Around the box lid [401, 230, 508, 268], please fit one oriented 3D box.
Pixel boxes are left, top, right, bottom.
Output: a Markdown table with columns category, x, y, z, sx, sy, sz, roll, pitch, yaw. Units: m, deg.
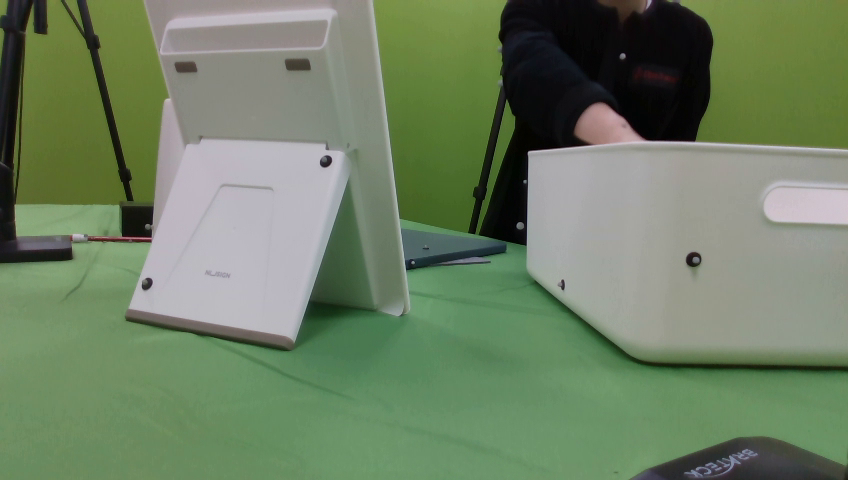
| category | x | y | z | sx | sy | sz | roll | pitch | yaw |
| --- | --- | --- | --- | --- | --- | --- | --- | --- | --- |
| box lid | -0.065 | 0.012 | 0.933 | 0.262 | 0.015 | 0.373 | 7 | 8 | 36 |

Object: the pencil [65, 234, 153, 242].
| category | x | y | z | sx | sy | sz | roll | pitch | yaw |
| --- | --- | --- | --- | --- | --- | --- | --- | --- | --- |
| pencil | -0.429 | -0.001 | 0.911 | 0.195 | 0.012 | 0.012 | 1 | 7 | -19 |

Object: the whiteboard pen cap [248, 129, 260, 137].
| category | x | y | z | sx | sy | sz | roll | pitch | yaw |
| --- | --- | --- | --- | --- | --- | --- | --- | --- | --- |
| whiteboard pen cap | -0.373 | -0.235 | 1.326 | 0.018 | 0.018 | 0.033 | -3 | 12 | -35 |

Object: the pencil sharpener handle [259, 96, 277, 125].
| category | x | y | z | sx | sy | sz | roll | pitch | yaw |
| --- | --- | --- | --- | --- | --- | --- | --- | --- | --- |
| pencil sharpener handle | -0.373 | -0.304 | 1.425 | 0.036 | 0.067 | 0.030 | 13 | -1 | -37 |

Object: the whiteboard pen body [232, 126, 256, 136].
| category | x | y | z | sx | sy | sz | roll | pitch | yaw |
| --- | --- | --- | --- | --- | --- | --- | --- | --- | --- |
| whiteboard pen body | -0.407 | -0.247 | 1.372 | 0.017 | 0.017 | 0.140 | -3 | 13 | -35 |

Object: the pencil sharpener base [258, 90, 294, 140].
| category | x | y | z | sx | sy | sz | roll | pitch | yaw |
| --- | --- | --- | --- | --- | --- | --- | --- | --- | --- |
| pencil sharpener base | -0.341 | -0.285 | 1.388 | 0.062 | 0.107 | 0.076 | -3 | 9 | -36 |

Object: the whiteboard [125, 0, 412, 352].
| category | x | y | z | sx | sy | sz | roll | pitch | yaw |
| --- | --- | --- | --- | --- | --- | --- | --- | --- | --- |
| whiteboard | -0.151 | -0.049 | 0.472 | 0.216 | 0.305 | 0.144 | 6 | 27 | 24 |

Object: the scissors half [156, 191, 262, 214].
| category | x | y | z | sx | sy | sz | roll | pitch | yaw |
| --- | --- | --- | --- | --- | --- | --- | --- | --- | --- |
| scissors half | -0.371 | -0.068 | 1.051 | 0.176 | 0.040 | 0.013 | 2 | 25 | -24 |

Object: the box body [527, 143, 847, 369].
| category | x | y | z | sx | sy | sz | roll | pitch | yaw |
| --- | --- | --- | --- | --- | --- | --- | --- | --- | --- |
| box body | 0.257 | -0.005 | 0.591 | 0.254 | 0.160 | 0.363 | 2 | 7 | -4 |

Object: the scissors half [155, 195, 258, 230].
| category | x | y | z | sx | sy | sz | roll | pitch | yaw |
| --- | --- | --- | --- | --- | --- | --- | --- | --- | --- |
| scissors half | -0.378 | -0.051 | 1.058 | 0.176 | 0.040 | 0.012 | 20 | 21 | -31 |

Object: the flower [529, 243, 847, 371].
| category | x | y | z | sx | sy | sz | roll | pitch | yaw |
| --- | --- | --- | --- | --- | --- | --- | --- | --- | --- |
| flower | 0.254 | 0.065 | 0.605 | 0.359 | 0.038 | 0.044 | 22 | -6 | 45 |

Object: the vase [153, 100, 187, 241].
| category | x | y | z | sx | sy | sz | roll | pitch | yaw |
| --- | --- | --- | --- | --- | --- | --- | --- | --- | --- |
| vase | -0.278 | -0.066 | 0.736 | 0.098 | 0.200 | 0.098 | 2 | 9 | 0 |

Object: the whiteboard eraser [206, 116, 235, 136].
| category | x | y | z | sx | sy | sz | roll | pitch | yaw |
| --- | --- | --- | --- | --- | --- | --- | --- | --- | --- |
| whiteboard eraser | -0.449 | -0.251 | 1.335 | 0.056 | 0.042 | 0.112 | 1 | 7 | -22 |
